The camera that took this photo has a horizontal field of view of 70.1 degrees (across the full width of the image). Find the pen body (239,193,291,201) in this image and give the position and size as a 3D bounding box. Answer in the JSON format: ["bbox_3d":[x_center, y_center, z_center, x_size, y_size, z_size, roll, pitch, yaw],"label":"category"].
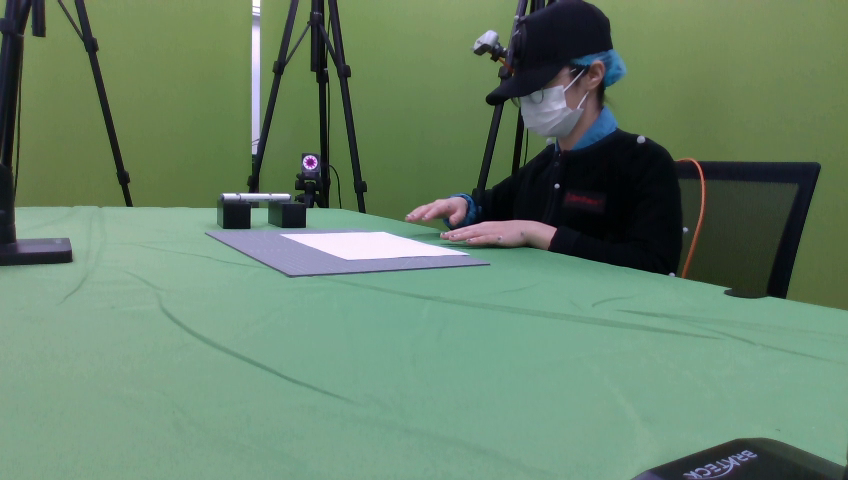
[{"bbox_3d":[-0.337,-0.089,1.236,0.145,0.017,0.017,-5,10,-43],"label":"pen body"}]

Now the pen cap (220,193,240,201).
[{"bbox_3d":[-0.383,-0.085,1.194,0.039,0.017,0.017,-5,10,-44],"label":"pen cap"}]
